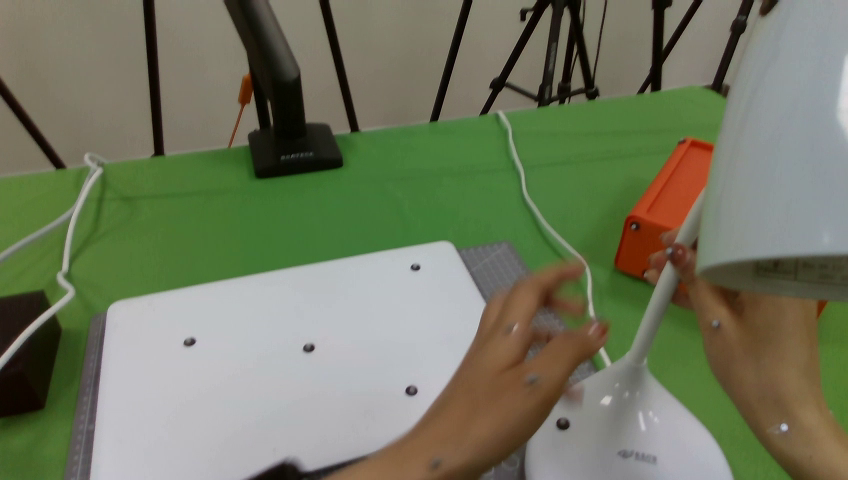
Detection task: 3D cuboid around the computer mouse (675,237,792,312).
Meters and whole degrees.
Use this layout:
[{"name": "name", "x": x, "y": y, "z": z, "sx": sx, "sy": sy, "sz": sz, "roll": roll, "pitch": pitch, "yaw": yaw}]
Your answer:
[{"name": "computer mouse", "x": 0.329, "y": 0.033, "z": 0.643, "sx": 0.116, "sy": 0.041, "sz": 0.062, "roll": 21, "pitch": 40, "yaw": 16}]

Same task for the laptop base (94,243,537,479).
[{"name": "laptop base", "x": -0.103, "y": 0.108, "z": 0.558, "sx": 0.355, "sy": 0.023, "sz": 0.232, "roll": -10, "pitch": 42, "yaw": -15}]

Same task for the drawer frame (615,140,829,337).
[{"name": "drawer frame", "x": 0.350, "y": -0.015, "z": 0.684, "sx": 0.200, "sy": 0.083, "sz": 0.213, "roll": 21, "pitch": 41, "yaw": 24}]

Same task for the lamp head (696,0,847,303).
[{"name": "lamp head", "x": 0.144, "y": -0.041, "z": 0.184, "sx": 0.112, "sy": 0.113, "sz": 0.122, "roll": 6, "pitch": 77, "yaw": 6}]

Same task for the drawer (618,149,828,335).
[{"name": "drawer", "x": 0.350, "y": -0.012, "z": 0.682, "sx": 0.193, "sy": 0.074, "sz": 0.211, "roll": 21, "pitch": 41, "yaw": 25}]

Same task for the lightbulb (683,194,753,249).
[{"name": "lightbulb", "x": 0.343, "y": -0.017, "z": 0.701, "sx": 0.059, "sy": 0.060, "sz": 0.107, "roll": -2, "pitch": 21, "yaw": -4}]

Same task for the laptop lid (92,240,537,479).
[{"name": "laptop lid", "x": -0.102, "y": 0.100, "z": 0.549, "sx": 0.357, "sy": 0.013, "sz": 0.239, "roll": -9, "pitch": 41, "yaw": -14}]

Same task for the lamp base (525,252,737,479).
[{"name": "lamp base", "x": 0.161, "y": 0.111, "z": 0.429, "sx": 0.161, "sy": 0.182, "sz": 0.177, "roll": 2, "pitch": 37, "yaw": 0}]
